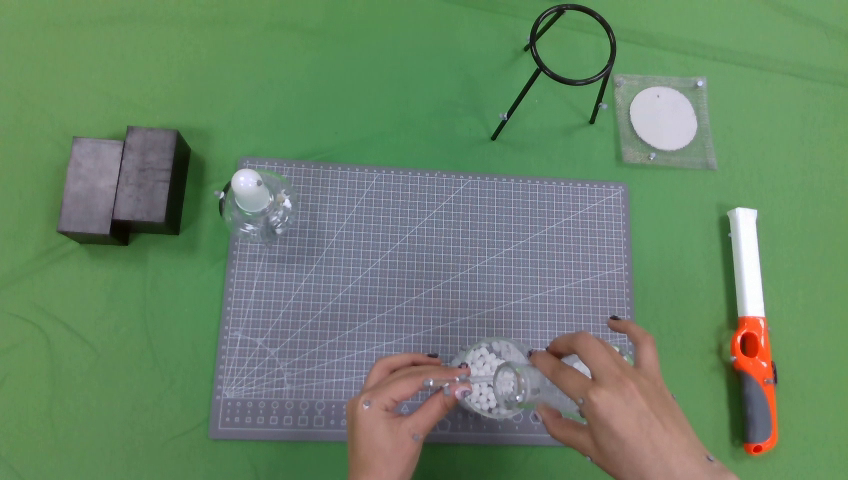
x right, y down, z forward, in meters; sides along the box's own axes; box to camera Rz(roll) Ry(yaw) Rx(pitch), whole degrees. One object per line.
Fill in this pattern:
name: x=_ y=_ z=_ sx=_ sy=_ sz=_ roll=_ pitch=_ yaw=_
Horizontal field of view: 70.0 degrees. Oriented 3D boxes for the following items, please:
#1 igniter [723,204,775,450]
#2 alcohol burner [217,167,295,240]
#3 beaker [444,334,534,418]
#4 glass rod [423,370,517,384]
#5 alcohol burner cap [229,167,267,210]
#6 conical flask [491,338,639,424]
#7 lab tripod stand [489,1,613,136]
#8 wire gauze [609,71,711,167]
igniter: x=0.368 y=0.094 z=0.688 sx=0.057 sy=0.025 sz=0.275 roll=6 pitch=77 yaw=-17
alcohol burner: x=-0.171 y=-0.042 z=0.607 sx=0.078 sy=0.119 sz=0.077 roll=1 pitch=77 yaw=-4
beaker: x=0.063 y=0.133 z=0.604 sx=0.084 sy=0.100 sz=0.074 roll=-39 pitch=84 yaw=-14
glass rod: x=0.048 y=0.121 z=0.535 sx=0.008 sy=0.201 sz=0.008 roll=-5 pitch=78 yaw=27
alcohol burner cap: x=-0.168 y=-0.052 z=0.573 sx=0.034 sy=0.048 sz=0.033 roll=3 pitch=69 yaw=-7
conical flask: x=0.115 y=0.120 z=0.512 sx=0.123 sy=0.075 sz=0.075 roll=7 pitch=75 yaw=-30
lab tripod stand: x=0.139 y=-0.183 z=0.669 sx=0.148 sy=0.132 sz=0.147 roll=1 pitch=79 yaw=-6
wire gauze: x=0.291 y=-0.151 z=0.744 sx=0.125 sy=0.011 sz=0.121 roll=2 pitch=77 yaw=-8
